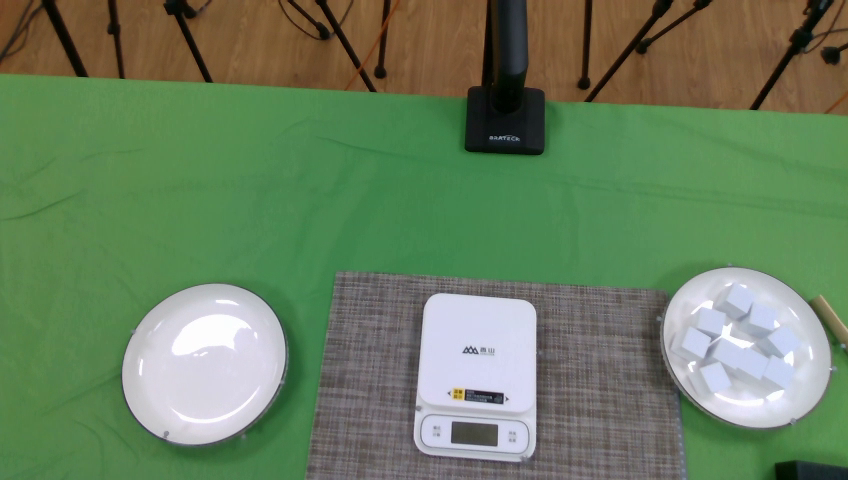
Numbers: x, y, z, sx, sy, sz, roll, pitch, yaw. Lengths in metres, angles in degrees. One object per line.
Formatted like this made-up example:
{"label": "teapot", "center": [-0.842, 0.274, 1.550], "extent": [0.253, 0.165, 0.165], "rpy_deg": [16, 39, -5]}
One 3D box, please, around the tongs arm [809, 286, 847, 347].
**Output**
{"label": "tongs arm", "center": [0.602, 0.220, 0.731], "extent": [0.028, 0.028, 0.384], "rpy_deg": [-24, 69, -11]}

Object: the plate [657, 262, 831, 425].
{"label": "plate", "center": [0.399, 0.131, 0.770], "extent": [0.207, 0.039, 0.206], "rpy_deg": [0, 67, 1]}

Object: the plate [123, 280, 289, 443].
{"label": "plate", "center": [-0.275, 0.154, 0.779], "extent": [0.209, 0.038, 0.207], "rpy_deg": [-1, 67, 2]}

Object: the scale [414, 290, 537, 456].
{"label": "scale", "center": [0.067, 0.163, 0.765], "extent": [0.148, 0.032, 0.199], "rpy_deg": [3, 67, 3]}
